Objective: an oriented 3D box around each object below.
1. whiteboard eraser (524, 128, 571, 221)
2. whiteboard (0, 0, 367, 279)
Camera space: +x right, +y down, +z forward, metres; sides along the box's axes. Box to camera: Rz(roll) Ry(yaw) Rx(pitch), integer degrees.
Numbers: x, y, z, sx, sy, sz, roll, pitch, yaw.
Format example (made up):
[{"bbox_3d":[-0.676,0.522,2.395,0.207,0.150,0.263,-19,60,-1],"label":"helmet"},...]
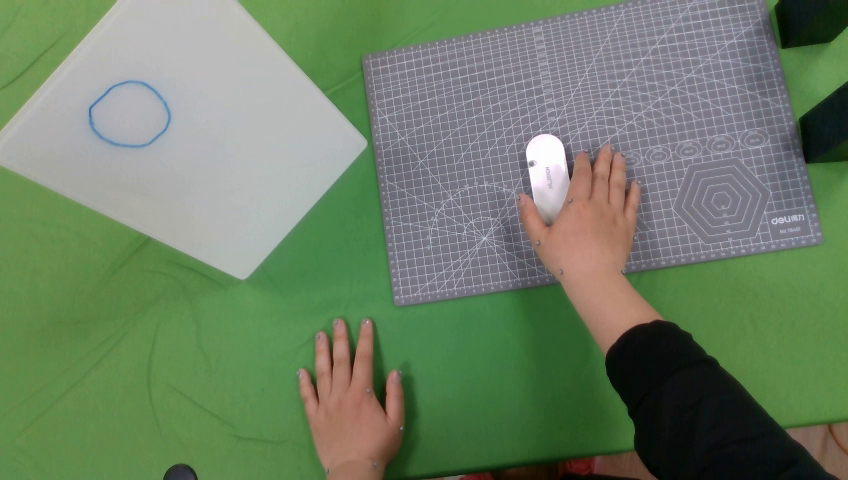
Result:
[{"bbox_3d":[0.133,-0.071,0.655,0.041,0.019,0.101,-9,82,6],"label":"whiteboard eraser"},{"bbox_3d":[-0.238,-0.127,0.604,0.217,0.308,0.142,-48,59,0],"label":"whiteboard"}]
